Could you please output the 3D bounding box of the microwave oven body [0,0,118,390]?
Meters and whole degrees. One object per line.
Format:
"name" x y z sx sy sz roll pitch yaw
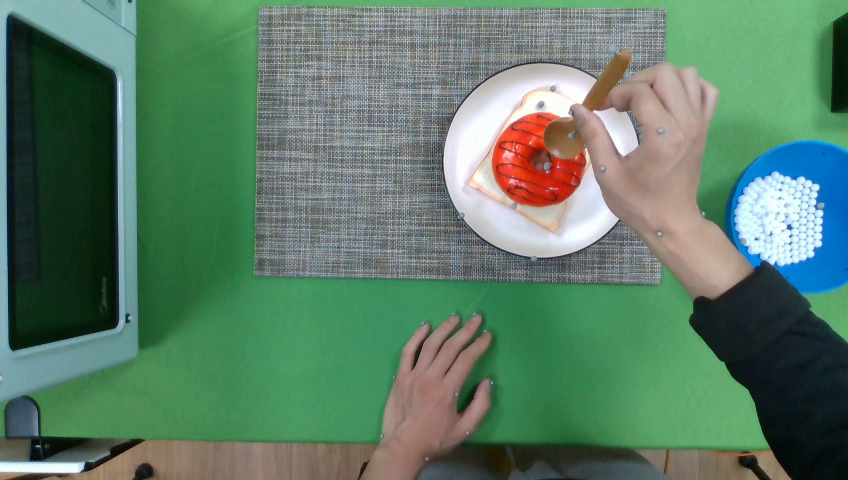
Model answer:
"microwave oven body" -0.484 -0.092 0.562 0.326 0.260 0.441 -1 91 2

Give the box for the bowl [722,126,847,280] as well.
"bowl" 0.372 -0.035 0.624 0.151 0.077 0.151 0 90 2

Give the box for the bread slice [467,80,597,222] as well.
"bread slice" 0.120 -0.102 0.650 0.107 0.018 0.134 25 92 1

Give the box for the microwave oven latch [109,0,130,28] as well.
"microwave oven latch" -0.336 -0.271 0.650 0.030 0.029 0.079 -1 91 2

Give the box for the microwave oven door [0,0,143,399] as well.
"microwave oven door" -0.337 -0.053 0.552 0.039 0.244 0.355 -2 90 3

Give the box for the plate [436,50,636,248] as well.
"plate" 0.117 -0.095 0.649 0.207 0.039 0.207 0 91 2

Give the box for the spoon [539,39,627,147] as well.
"spoon" 0.127 -0.113 0.493 0.041 0.194 0.021 40 86 4

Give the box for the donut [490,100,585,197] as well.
"donut" 0.116 -0.093 0.622 0.099 0.048 0.099 0 91 3
